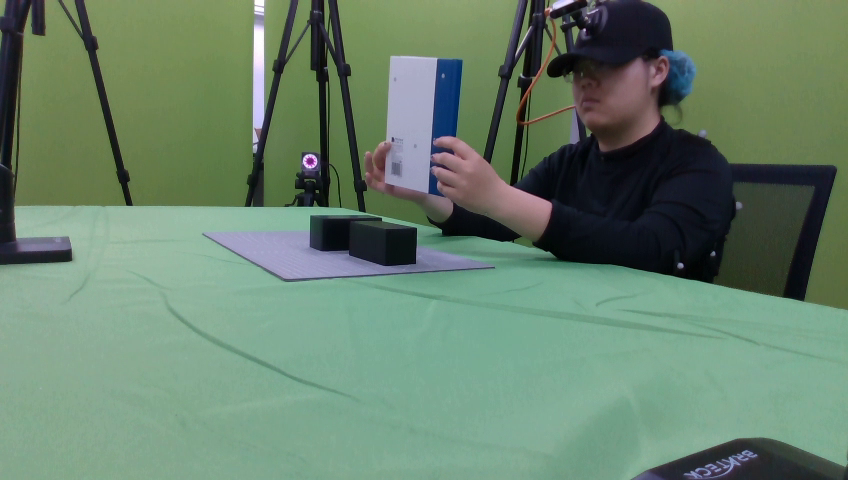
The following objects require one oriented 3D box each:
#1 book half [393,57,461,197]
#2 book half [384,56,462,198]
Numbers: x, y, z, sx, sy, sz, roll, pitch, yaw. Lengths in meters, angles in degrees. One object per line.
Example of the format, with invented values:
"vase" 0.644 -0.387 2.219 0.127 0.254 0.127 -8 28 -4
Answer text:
"book half" 0.000 -0.185 0.979 0.007 0.210 0.142 -10 21 -40
"book half" -0.006 -0.184 0.970 0.148 0.210 0.016 17 20 41
